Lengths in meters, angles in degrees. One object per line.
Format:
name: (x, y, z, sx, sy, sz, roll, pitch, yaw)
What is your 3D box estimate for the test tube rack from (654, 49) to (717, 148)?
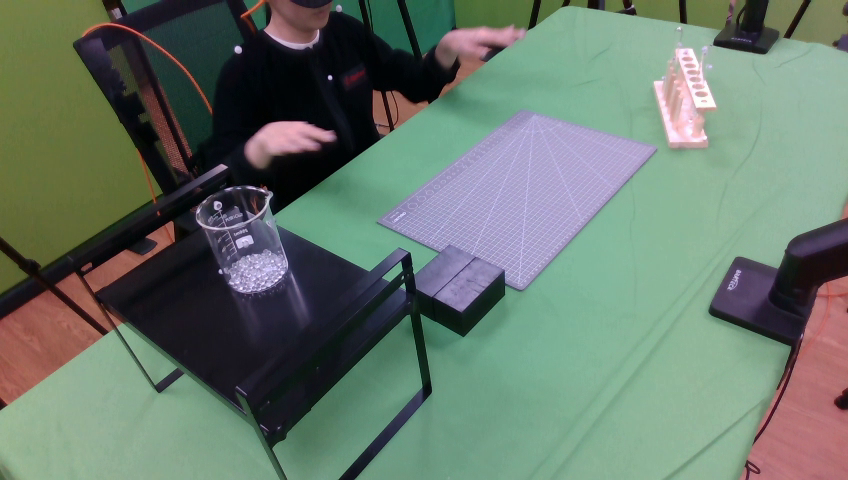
test tube rack: (0.502, -0.281, 1.176, 0.066, 0.085, 0.241, 1, 41, 11)

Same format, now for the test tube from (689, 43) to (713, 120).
test tube: (0.506, -0.286, 1.106, 0.017, 0.151, 0.017, -4, 43, 4)

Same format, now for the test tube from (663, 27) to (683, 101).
test tube: (0.486, -0.342, 1.181, 0.017, 0.151, 0.017, -4, 42, 4)

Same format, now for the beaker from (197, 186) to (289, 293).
beaker: (-0.192, 0.001, 0.666, 0.084, 0.101, 0.073, -33, 47, -27)
